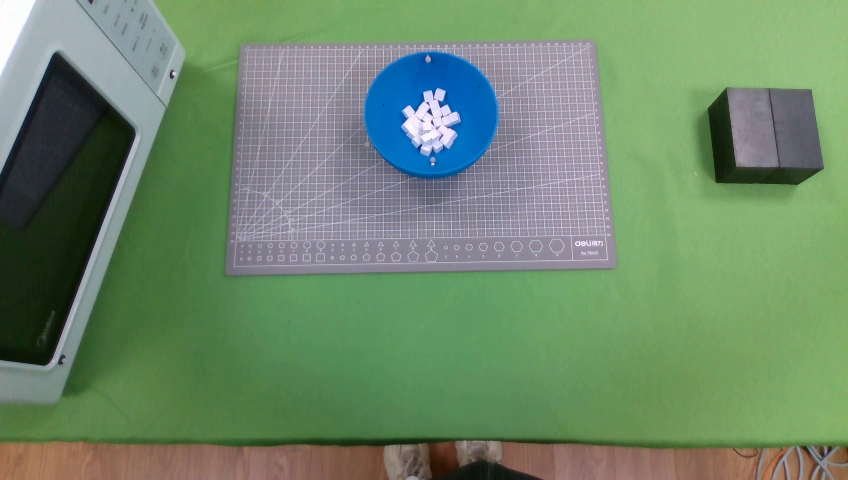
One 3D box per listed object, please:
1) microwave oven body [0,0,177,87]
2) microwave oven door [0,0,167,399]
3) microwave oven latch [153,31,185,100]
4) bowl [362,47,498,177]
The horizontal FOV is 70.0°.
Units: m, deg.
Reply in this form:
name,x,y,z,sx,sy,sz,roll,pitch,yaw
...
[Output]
name,x,y,z,sx,sy,sz,roll,pitch,yaw
microwave oven body,-0.496,-0.101,0.594,0.326,0.261,0.439,13,76,3
microwave oven door,-0.363,-0.031,0.571,0.039,0.245,0.354,12,75,4
microwave oven latch,-0.312,-0.210,0.724,0.030,0.029,0.079,14,76,3
bowl,0.007,-0.135,0.701,0.151,0.077,0.150,0,75,0
